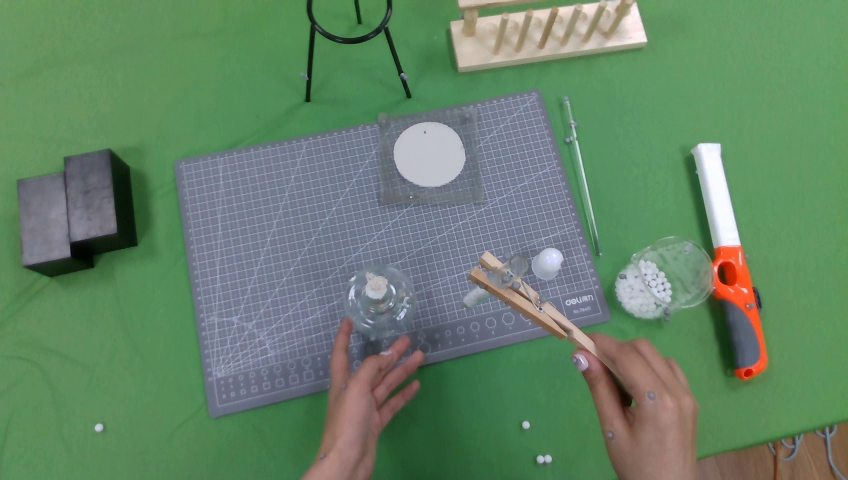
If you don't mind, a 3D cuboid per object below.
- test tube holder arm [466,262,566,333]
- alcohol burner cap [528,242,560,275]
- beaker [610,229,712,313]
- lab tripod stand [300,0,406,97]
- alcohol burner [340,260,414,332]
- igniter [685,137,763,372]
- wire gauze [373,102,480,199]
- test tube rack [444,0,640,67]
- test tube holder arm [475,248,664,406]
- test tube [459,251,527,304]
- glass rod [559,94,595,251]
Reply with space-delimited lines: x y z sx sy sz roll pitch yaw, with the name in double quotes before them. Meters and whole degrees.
"test tube holder arm" 0.072 0.045 0.465 0.088 0.015 0.010 32 75 1
"alcohol burner cap" 0.137 0.018 0.679 0.034 0.048 0.033 0 75 -1
"beaker" 0.246 0.037 0.651 0.084 0.101 0.073 18 74 4
"lab tripod stand" -0.088 -0.230 0.692 0.148 0.132 0.147 1 77 -2
"alcohol burner" -0.050 0.054 0.626 0.078 0.119 0.077 0 74 0
"igniter" 0.345 0.011 0.698 0.057 0.025 0.275 -2 75 -13
"wire gauze" 0.002 -0.106 0.725 0.125 0.011 0.121 -2 76 -3
"test tube rack" 0.151 -0.278 0.738 0.242 0.085 0.066 -9 75 -4
"test tube holder arm" 0.111 0.067 0.465 0.178 0.015 0.013 38 76 3
"test tube" 0.052 0.033 0.487 0.017 0.150 0.017 3 75 -10
"glass rod" 0.184 -0.083 0.726 0.008 0.008 0.198 -7 78 -4
